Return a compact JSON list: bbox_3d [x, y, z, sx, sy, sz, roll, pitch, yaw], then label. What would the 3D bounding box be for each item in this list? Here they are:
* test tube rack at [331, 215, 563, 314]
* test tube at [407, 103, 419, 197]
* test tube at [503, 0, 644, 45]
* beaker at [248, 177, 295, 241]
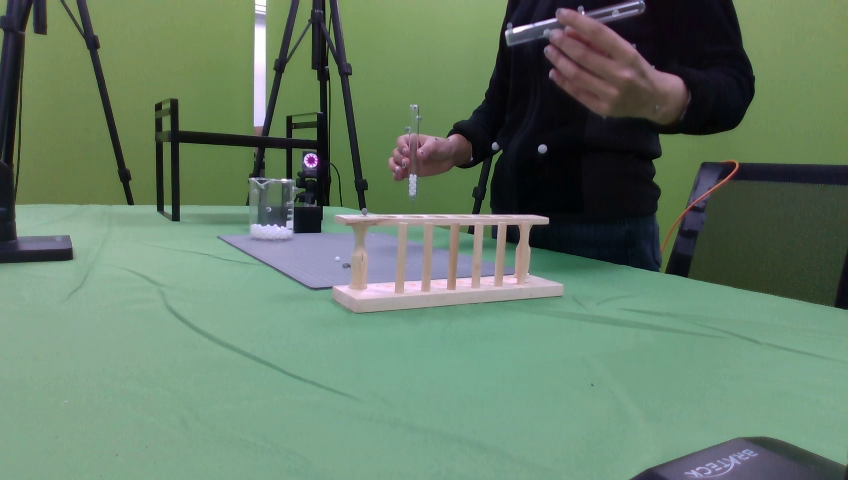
[{"bbox_3d":[0.031,0.019,0.625,0.243,0.085,0.066,-1,8,-28],"label":"test tube rack"},{"bbox_3d":[-0.018,-0.143,0.976,0.017,0.150,0.017,1,14,0],"label":"test tube"},{"bbox_3d":[0.161,-0.236,0.658,0.150,0.017,0.017,-9,4,15],"label":"test tube"},{"bbox_3d":[-0.252,-0.051,0.992,0.074,0.100,0.084,3,9,6],"label":"beaker"}]
